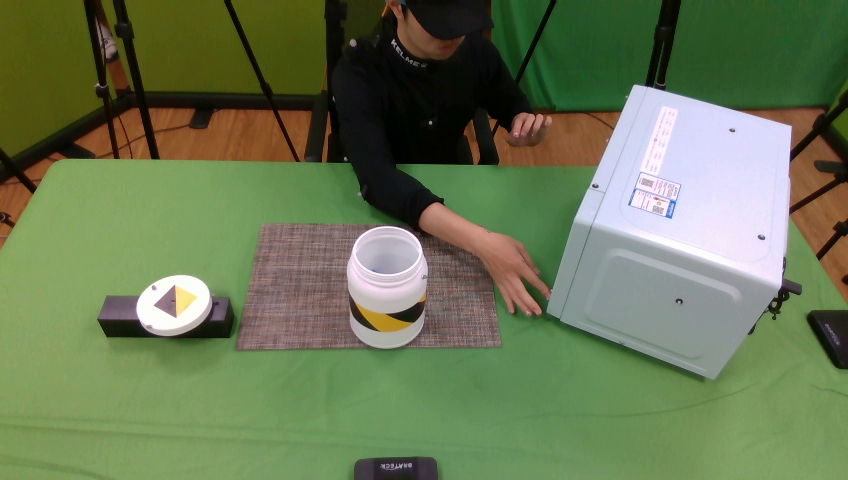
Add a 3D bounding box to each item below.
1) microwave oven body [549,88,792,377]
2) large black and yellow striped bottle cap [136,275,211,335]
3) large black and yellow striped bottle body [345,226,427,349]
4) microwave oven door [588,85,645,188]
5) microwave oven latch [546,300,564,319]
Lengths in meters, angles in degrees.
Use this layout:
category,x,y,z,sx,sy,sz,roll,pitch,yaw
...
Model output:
category,x,y,z,sx,sy,sz,roll,pitch,yaw
microwave oven body,0.456,-0.028,1.088,0.325,0.261,0.440,20,47,16
large black and yellow striped bottle cap,-0.411,0.105,0.999,0.115,0.019,0.114,3,46,-3
large black and yellow striped bottle body,-0.062,0.078,0.998,0.131,0.185,0.130,2,46,-2
microwave oven door,0.342,-0.107,1.149,0.039,0.245,0.354,20,48,15
microwave oven latch,0.243,0.102,1.080,0.030,0.029,0.079,22,48,18
